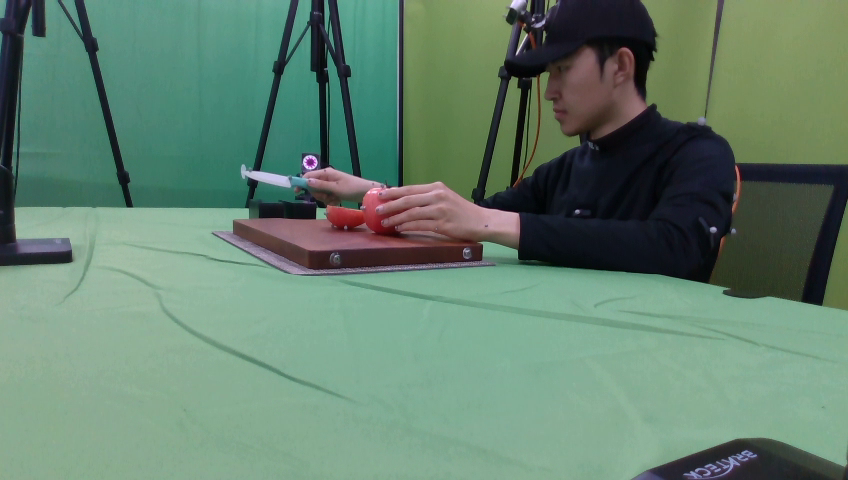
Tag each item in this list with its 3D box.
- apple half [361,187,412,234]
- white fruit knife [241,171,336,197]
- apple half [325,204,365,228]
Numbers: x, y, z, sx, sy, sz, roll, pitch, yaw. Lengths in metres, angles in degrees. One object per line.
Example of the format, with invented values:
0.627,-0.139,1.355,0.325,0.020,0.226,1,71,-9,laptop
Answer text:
-0.051,-0.045,0.938,0.081,0.074,0.053,1,10,-43,apple half
-0.284,-0.123,1.283,0.208,0.027,0.016,9,-2,-28,white fruit knife
-0.128,-0.034,0.991,0.081,0.033,0.081,11,-5,1,apple half
